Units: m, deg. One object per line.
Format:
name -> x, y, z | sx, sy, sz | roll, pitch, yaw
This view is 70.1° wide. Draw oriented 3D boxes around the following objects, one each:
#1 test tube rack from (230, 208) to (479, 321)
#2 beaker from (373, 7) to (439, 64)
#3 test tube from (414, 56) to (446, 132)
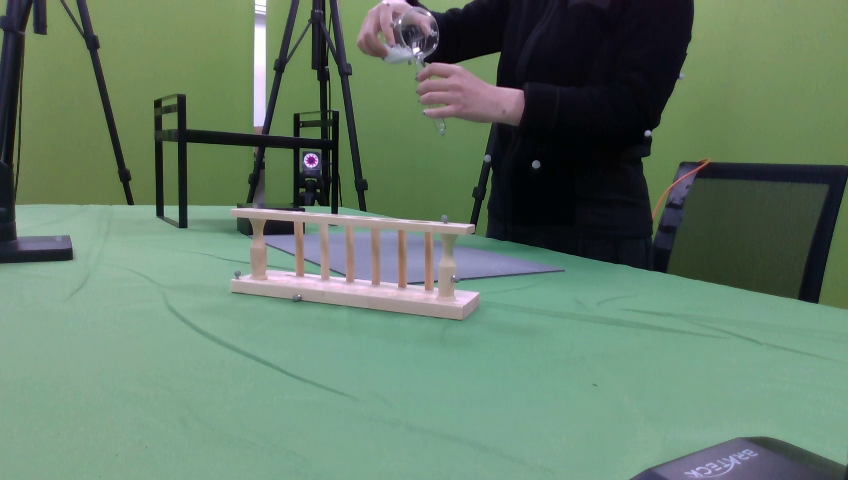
test tube rack -> -0.069, 0.017, 0.598 | 0.242, 0.085, 0.067 | 5, 8, 18
beaker -> -0.033, -0.332, 1.004 | 0.074, 0.084, 0.100 | -4, 7, -33
test tube -> 0.009, -0.228, 0.936 | 0.017, 0.149, 0.017 | -13, -27, -6
